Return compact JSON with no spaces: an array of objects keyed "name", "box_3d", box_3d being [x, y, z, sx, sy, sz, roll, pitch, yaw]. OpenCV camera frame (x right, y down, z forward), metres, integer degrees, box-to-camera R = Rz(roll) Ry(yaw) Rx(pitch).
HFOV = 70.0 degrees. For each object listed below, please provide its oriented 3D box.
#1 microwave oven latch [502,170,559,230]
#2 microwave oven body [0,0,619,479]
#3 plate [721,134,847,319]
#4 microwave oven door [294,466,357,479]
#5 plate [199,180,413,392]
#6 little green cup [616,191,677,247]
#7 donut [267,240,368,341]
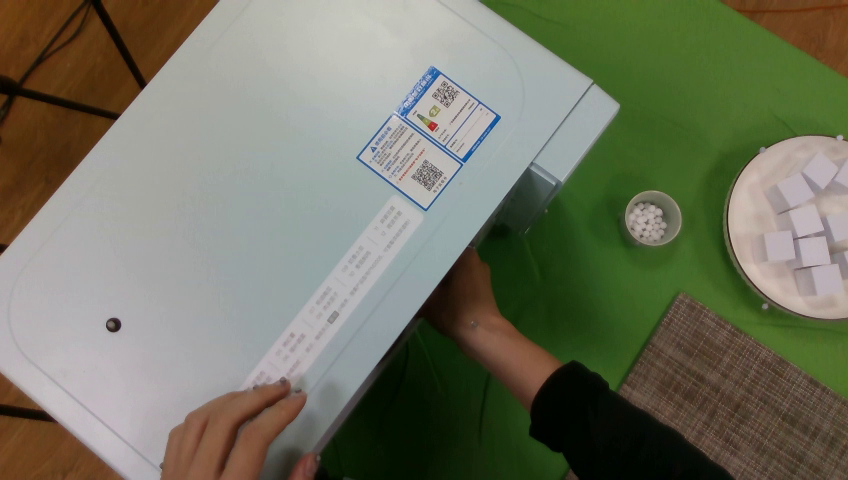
[{"name":"microwave oven latch","box_3d":[0.120,-0.049,0.666,0.030,0.029,0.079,41,85,6]},{"name":"microwave oven body","box_3d":[-0.107,-0.013,0.566,0.325,0.261,0.441,37,84,6]},{"name":"plate","box_3d":[0.432,-0.015,0.675,0.208,0.039,0.207,0,81,1]},{"name":"microwave oven door","box_3d":[0.040,0.282,0.514,0.356,0.244,0.039,15,81,3]},{"name":"plate","box_3d":[-0.115,0.046,0.605,0.209,0.038,0.208,0,82,-1]},{"name":"little green cup","box_3d":[0.246,-0.021,0.677,0.061,0.039,0.061,0,82,1]},{"name":"donut","box_3d":[-0.102,0.048,0.587,0.099,0.048,0.098,0,80,3]}]
